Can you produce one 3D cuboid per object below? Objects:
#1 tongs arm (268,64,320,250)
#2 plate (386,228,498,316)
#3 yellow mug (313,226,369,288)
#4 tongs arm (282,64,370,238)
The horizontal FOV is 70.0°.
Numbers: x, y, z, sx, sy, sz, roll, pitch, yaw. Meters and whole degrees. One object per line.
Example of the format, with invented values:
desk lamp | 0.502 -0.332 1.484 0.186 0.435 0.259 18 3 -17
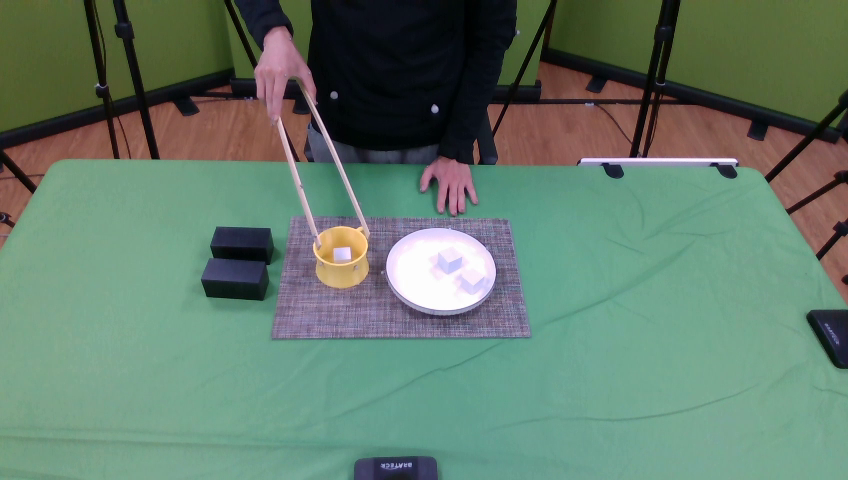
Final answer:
tongs arm | -0.230 -0.161 1.109 0.051 0.026 0.383 -15 71 -22
plate | 0.032 0.062 1.126 0.208 0.039 0.206 2 46 -2
yellow mug | -0.146 0.021 1.132 0.099 0.064 0.130 24 49 19
tongs arm | -0.182 -0.172 1.130 0.028 0.028 0.386 -20 73 -20
